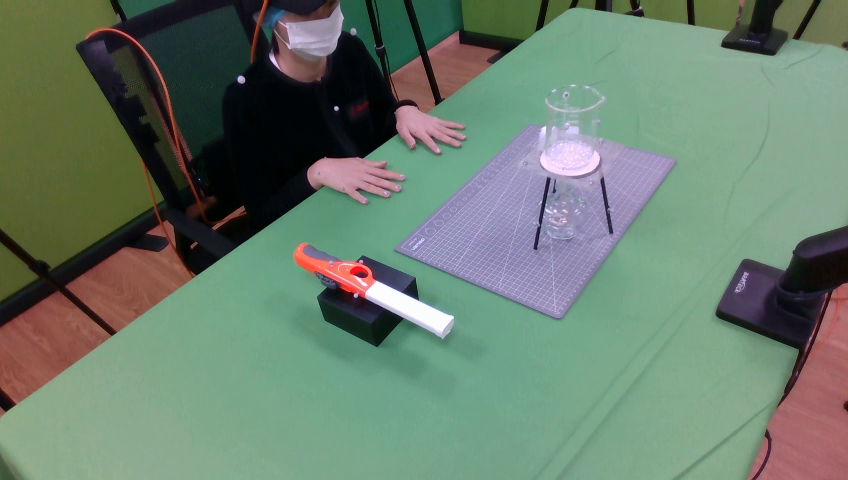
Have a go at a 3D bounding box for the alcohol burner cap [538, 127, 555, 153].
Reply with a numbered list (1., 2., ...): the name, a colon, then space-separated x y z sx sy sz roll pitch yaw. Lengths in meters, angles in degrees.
1. alcohol burner cap: 0.234 -0.191 1.147 0.034 0.048 0.033 -5 40 5

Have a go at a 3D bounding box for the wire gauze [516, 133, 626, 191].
1. wire gauze: 0.217 -0.122 0.893 0.124 0.011 0.122 20 47 32

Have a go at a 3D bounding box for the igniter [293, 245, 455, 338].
1. igniter: -0.079 0.065 0.833 0.274 0.025 0.057 23 48 27

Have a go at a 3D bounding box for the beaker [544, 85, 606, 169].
1. beaker: 0.212 -0.158 0.861 0.084 0.101 0.073 -3 41 6

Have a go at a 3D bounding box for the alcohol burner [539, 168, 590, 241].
1. alcohol burner: 0.217 -0.059 0.935 0.078 0.119 0.077 -6 40 6

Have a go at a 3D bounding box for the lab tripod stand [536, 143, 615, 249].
1. lab tripod stand: 0.224 -0.069 0.931 0.148 0.132 0.147 -4 42 4
